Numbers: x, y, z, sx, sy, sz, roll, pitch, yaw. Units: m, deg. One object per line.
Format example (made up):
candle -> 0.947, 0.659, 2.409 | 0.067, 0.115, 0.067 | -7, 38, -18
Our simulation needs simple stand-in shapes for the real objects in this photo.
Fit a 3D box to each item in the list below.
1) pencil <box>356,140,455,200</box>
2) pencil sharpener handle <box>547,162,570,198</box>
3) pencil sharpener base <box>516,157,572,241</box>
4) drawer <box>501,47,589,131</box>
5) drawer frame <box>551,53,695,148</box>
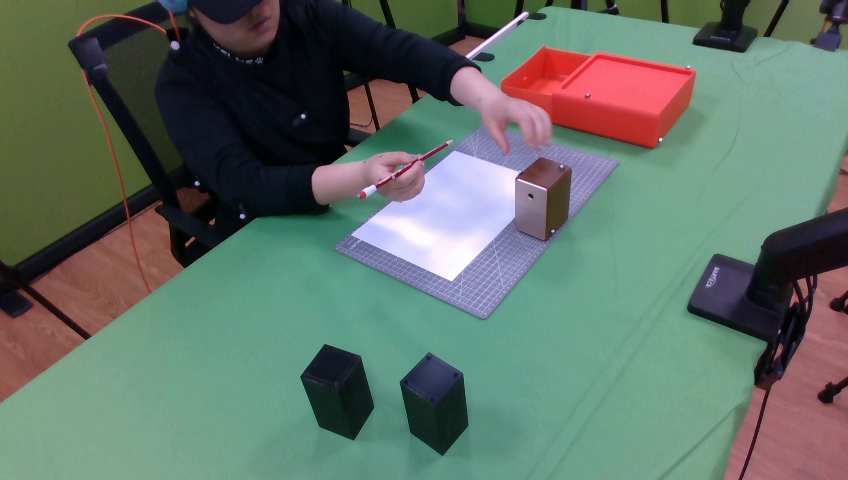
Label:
pencil -> -0.024, -0.110, 0.912 | 0.195, 0.012, 0.012 | -34, 47, -27
pencil sharpener handle -> 0.221, -0.101, 0.967 | 0.035, 0.068, 0.031 | 20, 47, 36
pencil sharpener base -> 0.189, -0.065, 0.948 | 0.061, 0.107, 0.077 | 24, 49, 33
drawer -> 0.296, -0.315, 1.255 | 0.210, 0.073, 0.195 | 22, 48, 29
drawer frame -> 0.391, -0.281, 1.196 | 0.212, 0.083, 0.202 | 22, 48, 29
